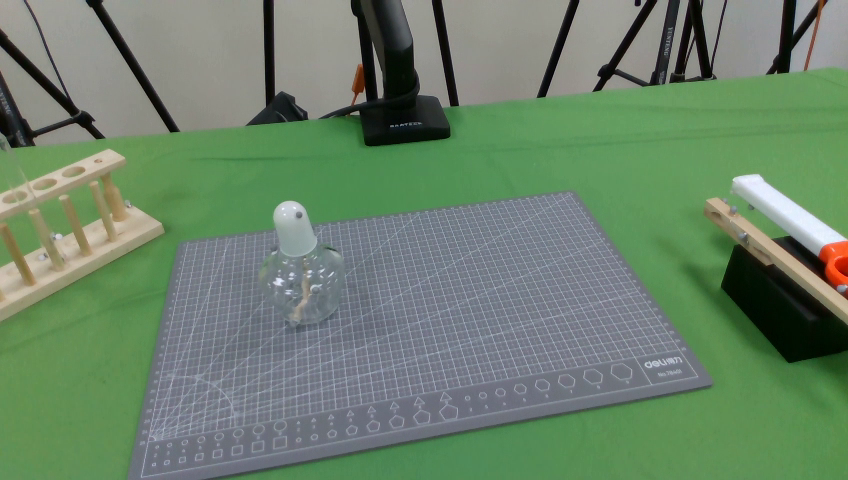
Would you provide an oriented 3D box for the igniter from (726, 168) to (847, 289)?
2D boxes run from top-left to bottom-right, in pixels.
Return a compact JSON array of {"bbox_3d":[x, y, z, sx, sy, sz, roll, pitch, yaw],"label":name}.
[{"bbox_3d":[0.354,0.009,0.516,0.057,0.025,0.273,-9,36,-8],"label":"igniter"}]

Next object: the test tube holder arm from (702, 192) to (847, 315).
[{"bbox_3d":[0.301,0.007,0.518,0.015,0.013,0.176,-18,38,-9],"label":"test tube holder arm"}]

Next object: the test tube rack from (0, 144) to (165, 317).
[{"bbox_3d":[-0.389,0.001,0.589,0.066,0.086,0.242,26,46,30],"label":"test tube rack"}]

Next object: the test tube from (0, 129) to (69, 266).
[{"bbox_3d":[-0.366,-0.036,0.561,0.017,0.151,0.017,-1,39,1],"label":"test tube"}]

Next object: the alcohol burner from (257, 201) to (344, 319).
[{"bbox_3d":[-0.111,0.012,0.534,0.078,0.120,0.077,0,39,0],"label":"alcohol burner"}]

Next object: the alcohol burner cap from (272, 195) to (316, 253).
[{"bbox_3d":[-0.112,-0.016,0.512,0.034,0.048,0.033,-2,43,2],"label":"alcohol burner cap"}]

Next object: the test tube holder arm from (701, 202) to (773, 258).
[{"bbox_3d":[0.289,-0.012,0.556,0.015,0.010,0.087,-18,37,-9],"label":"test tube holder arm"}]
